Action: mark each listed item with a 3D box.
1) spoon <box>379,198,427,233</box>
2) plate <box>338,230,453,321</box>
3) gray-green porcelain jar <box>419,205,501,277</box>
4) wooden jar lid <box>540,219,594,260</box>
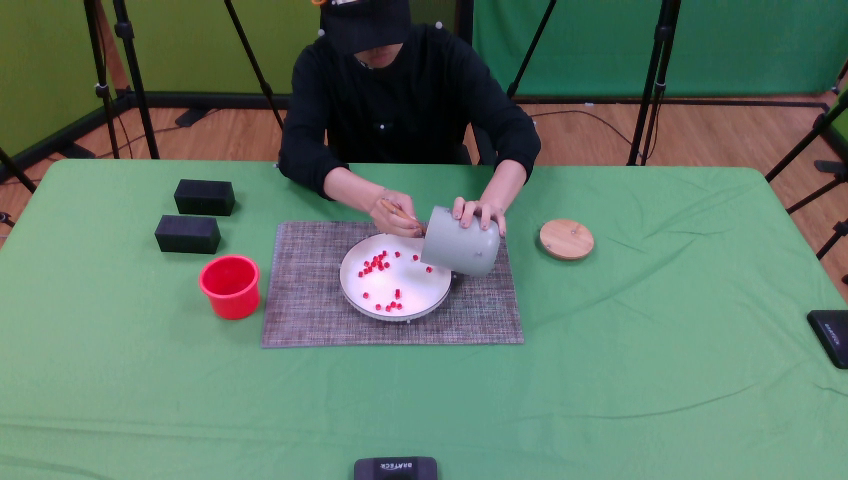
[{"bbox_3d":[0.004,-0.020,1.051,0.194,0.021,0.041,28,54,-14],"label":"spoon"},{"bbox_3d":[-0.052,0.068,1.111,0.208,0.039,0.206,2,46,-2],"label":"plate"},{"bbox_3d":[0.066,0.004,1.063,0.126,0.106,0.105,14,46,3],"label":"gray-green porcelain jar"},{"bbox_3d":[0.286,0.001,1.218,0.108,0.021,0.107,1,46,-1],"label":"wooden jar lid"}]
